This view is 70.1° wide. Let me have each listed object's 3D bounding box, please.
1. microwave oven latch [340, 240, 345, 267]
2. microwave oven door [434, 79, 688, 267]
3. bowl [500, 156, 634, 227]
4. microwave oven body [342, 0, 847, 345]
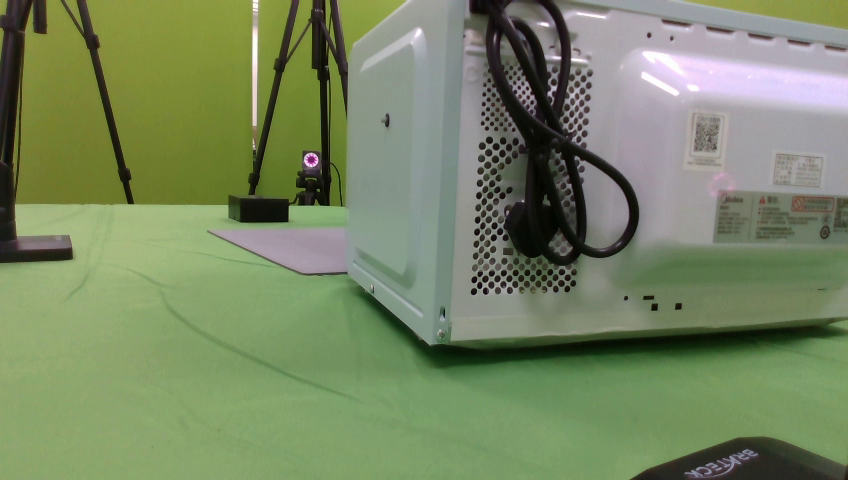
[{"bbox_3d":[-0.052,0.017,0.662,0.079,0.029,0.030,1,7,-18],"label":"microwave oven latch"},{"bbox_3d":[0.178,-0.102,0.868,0.354,0.243,0.039,7,9,31],"label":"microwave oven door"},{"bbox_3d":[0.162,-0.057,0.696,0.151,0.077,0.151,0,7,0],"label":"bowl"},{"bbox_3d":[0.169,-0.060,0.573,0.444,0.260,0.324,1,7,-20],"label":"microwave oven body"}]
